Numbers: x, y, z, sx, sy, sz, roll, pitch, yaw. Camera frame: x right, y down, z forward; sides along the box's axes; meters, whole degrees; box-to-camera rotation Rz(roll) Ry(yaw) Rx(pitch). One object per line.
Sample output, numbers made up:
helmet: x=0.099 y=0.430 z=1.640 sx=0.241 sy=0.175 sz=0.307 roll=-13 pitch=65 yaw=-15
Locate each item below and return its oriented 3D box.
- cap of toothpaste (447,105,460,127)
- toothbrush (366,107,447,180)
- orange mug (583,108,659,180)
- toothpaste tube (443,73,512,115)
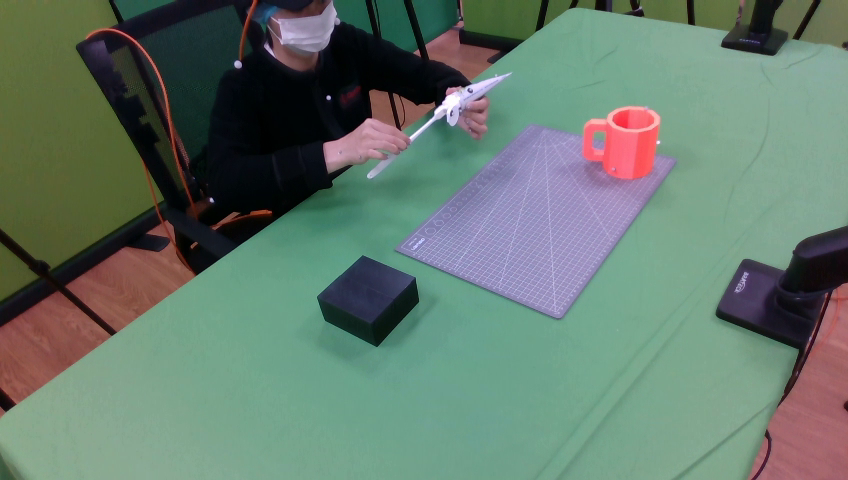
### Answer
cap of toothpaste: x=0.047 y=-0.207 z=1.005 sx=0.011 sy=0.037 sz=0.037 roll=17 pitch=46 yaw=25
toothbrush: x=-0.031 y=-0.163 z=1.027 sx=0.181 sy=0.015 sz=0.016 roll=-40 pitch=44 yaw=13
orange mug: x=0.343 y=-0.171 z=1.061 sx=0.126 sy=0.101 sz=0.083 roll=10 pitch=43 yaw=15
toothpaste tube: x=0.090 y=-0.260 z=1.066 sx=0.054 sy=0.034 sz=0.165 roll=3 pitch=33 yaw=47
